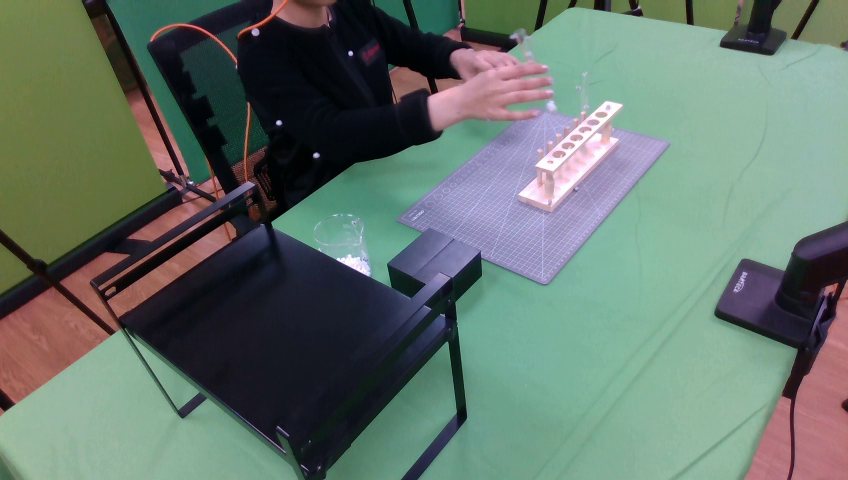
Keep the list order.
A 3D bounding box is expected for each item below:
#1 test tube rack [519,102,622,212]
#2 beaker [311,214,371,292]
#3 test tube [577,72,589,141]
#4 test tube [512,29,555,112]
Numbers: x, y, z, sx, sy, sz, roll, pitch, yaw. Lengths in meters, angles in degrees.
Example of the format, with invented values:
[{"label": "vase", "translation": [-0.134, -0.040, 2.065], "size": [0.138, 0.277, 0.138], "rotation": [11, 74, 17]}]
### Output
[{"label": "test tube rack", "translation": [0.260, -0.155, 1.065], "size": [0.066, 0.085, 0.243], "rotation": [24, 50, 32]}, {"label": "beaker", "translation": [-0.118, 0.022, 0.908], "size": [0.083, 0.101, 0.074], "rotation": [26, 51, 32]}, {"label": "test tube", "translation": [0.284, -0.233, 1.084], "size": [0.017, 0.151, 0.017], "rotation": [-5, 44, 6]}, {"label": "test tube", "translation": [0.176, -0.264, 0.958], "size": [0.017, 0.151, 0.017], "rotation": [-23, 34, 17]}]
